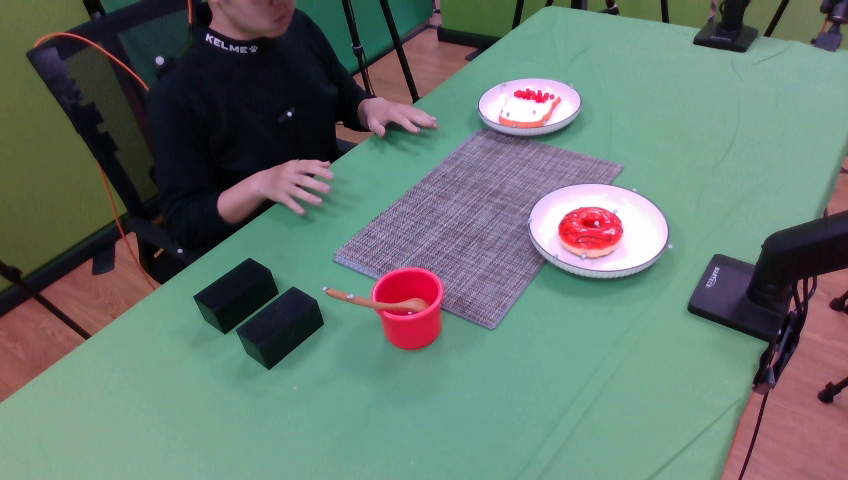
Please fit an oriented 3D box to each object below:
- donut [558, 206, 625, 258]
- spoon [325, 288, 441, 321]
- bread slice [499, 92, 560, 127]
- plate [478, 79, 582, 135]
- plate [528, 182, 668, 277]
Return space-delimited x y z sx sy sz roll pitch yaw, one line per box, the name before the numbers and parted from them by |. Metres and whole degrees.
donut | 0.254 -0.015 0.917 0.099 0.048 0.098 -5 41 5
spoon | -0.047 0.084 0.776 0.195 0.021 0.041 12 27 -42
bread slice | 0.214 -0.268 1.243 0.104 0.019 0.131 12 43 21
plate | 0.216 -0.268 1.239 0.209 0.038 0.208 -4 40 4
plate | 0.264 -0.014 0.933 0.207 0.039 0.206 -3 42 3
